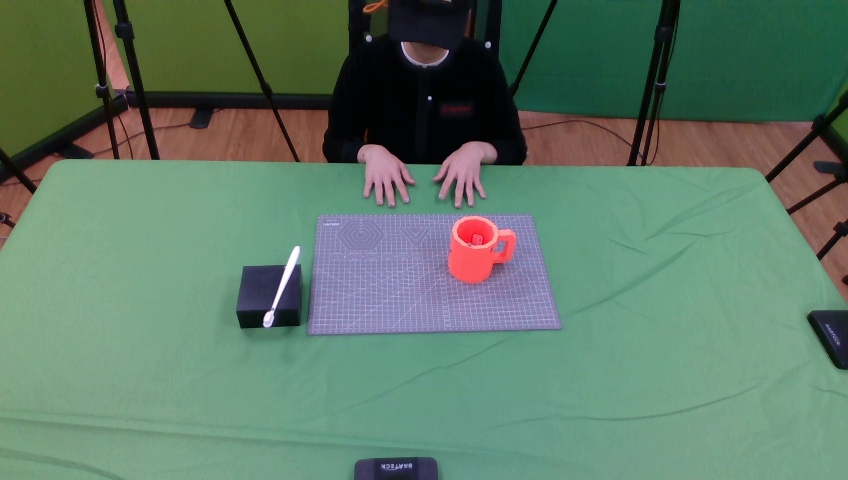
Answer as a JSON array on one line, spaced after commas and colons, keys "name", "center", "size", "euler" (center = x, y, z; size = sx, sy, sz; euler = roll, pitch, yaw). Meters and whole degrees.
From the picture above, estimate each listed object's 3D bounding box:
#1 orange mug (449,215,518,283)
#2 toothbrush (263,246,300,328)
[{"name": "orange mug", "center": [0.110, 0.015, 1.130], "size": [0.126, 0.101, 0.083], "euler": [-8, 47, -6]}, {"name": "toothbrush", "center": [-0.243, 0.074, 1.042], "size": [0.014, 0.017, 0.181], "euler": [6, 45, 6]}]
